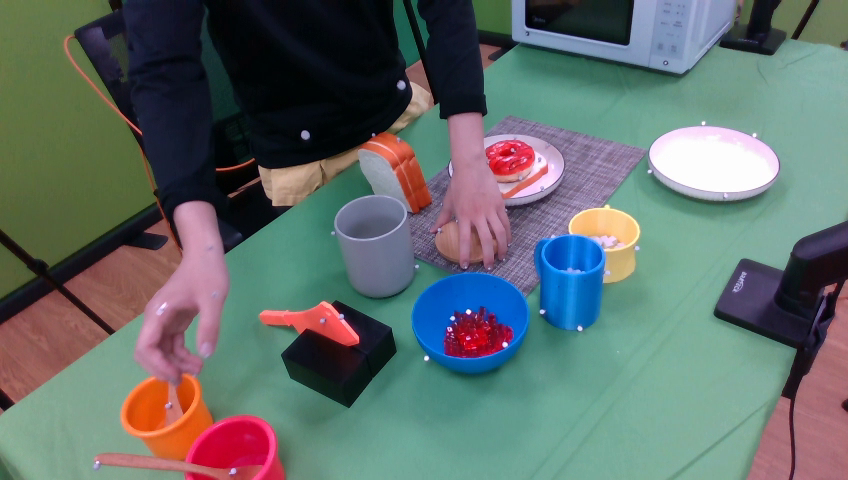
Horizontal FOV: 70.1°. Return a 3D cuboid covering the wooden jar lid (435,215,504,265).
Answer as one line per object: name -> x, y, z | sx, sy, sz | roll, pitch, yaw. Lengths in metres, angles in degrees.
wooden jar lid -> 0.071, 0.002, 0.955 | 0.108, 0.021, 0.108 | -4, 40, 4

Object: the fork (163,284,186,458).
fork -> -0.302, 0.157, 0.733 | 0.028, 0.019, 0.207 | -3, 84, 13

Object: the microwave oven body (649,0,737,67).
microwave oven body -> 0.475, -0.602, 1.411 | 0.438, 0.261, 0.327 | 23, 50, 32

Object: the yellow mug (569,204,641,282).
yellow mug -> 0.268, -0.005, 0.904 | 0.099, 0.064, 0.130 | 7, 41, 15

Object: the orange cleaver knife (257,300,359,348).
orange cleaver knife -> -0.160, 0.115, 0.813 | 0.210, 0.077, 0.012 | -9, 28, 48

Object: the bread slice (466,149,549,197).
bread slice -> 0.156, -0.128, 1.085 | 0.132, 0.019, 0.104 | -34, 48, -23

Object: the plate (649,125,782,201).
plate -> 0.493, -0.127, 1.036 | 0.207, 0.039, 0.206 | -4, 41, 4

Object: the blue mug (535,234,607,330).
blue mug -> 0.191, 0.048, 0.824 | 0.082, 0.106, 0.115 | -26, 44, -20

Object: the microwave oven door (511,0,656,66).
microwave oven door -> 0.351, -0.539, 1.348 | 0.353, 0.245, 0.039 | 24, 50, 31

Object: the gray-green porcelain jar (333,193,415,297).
gray-green porcelain jar -> -0.070, 0.012, 0.887 | 0.106, 0.127, 0.105 | -4, 41, 4

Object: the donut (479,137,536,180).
donut -> 0.145, -0.144, 1.056 | 0.099, 0.048, 0.098 | -5, 42, 6

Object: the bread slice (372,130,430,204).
bread slice -> -0.042, -0.127, 1.039 | 0.106, 0.135, 0.018 | 30, 62, 33

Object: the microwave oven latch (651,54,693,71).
microwave oven latch -> 0.531, -0.386, 1.301 | 0.078, 0.029, 0.030 | 26, 51, 33

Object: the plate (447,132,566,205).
plate -> 0.146, -0.124, 1.076 | 0.209, 0.038, 0.208 | -4, 41, 4

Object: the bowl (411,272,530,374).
bowl -> 0.062, 0.120, 0.780 | 0.151, 0.077, 0.150 | -4, 40, 4

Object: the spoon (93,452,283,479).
spoon -> -0.239, 0.239, 0.632 | 0.195, 0.021, 0.041 | 26, 33, -32
